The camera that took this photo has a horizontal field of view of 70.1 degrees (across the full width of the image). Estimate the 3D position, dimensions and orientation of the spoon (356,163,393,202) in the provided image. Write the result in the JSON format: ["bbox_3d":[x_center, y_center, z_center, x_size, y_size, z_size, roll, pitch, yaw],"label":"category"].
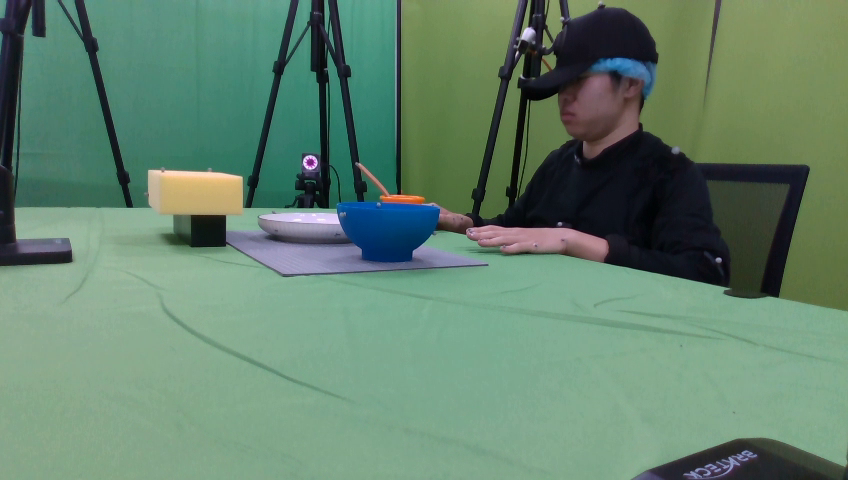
[{"bbox_3d":[-0.079,-0.090,1.232,0.021,0.193,0.042,-44,-16,26],"label":"spoon"}]

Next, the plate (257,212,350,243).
[{"bbox_3d":[-0.189,-0.023,1.072,0.209,0.038,0.209,3,7,0],"label":"plate"}]

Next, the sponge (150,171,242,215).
[{"bbox_3d":[-0.379,-0.079,0.994,0.119,0.061,0.206,-1,8,-29],"label":"sponge"}]

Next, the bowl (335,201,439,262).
[{"bbox_3d":[-0.054,-0.012,0.871,0.151,0.077,0.151,3,8,0],"label":"bowl"}]
